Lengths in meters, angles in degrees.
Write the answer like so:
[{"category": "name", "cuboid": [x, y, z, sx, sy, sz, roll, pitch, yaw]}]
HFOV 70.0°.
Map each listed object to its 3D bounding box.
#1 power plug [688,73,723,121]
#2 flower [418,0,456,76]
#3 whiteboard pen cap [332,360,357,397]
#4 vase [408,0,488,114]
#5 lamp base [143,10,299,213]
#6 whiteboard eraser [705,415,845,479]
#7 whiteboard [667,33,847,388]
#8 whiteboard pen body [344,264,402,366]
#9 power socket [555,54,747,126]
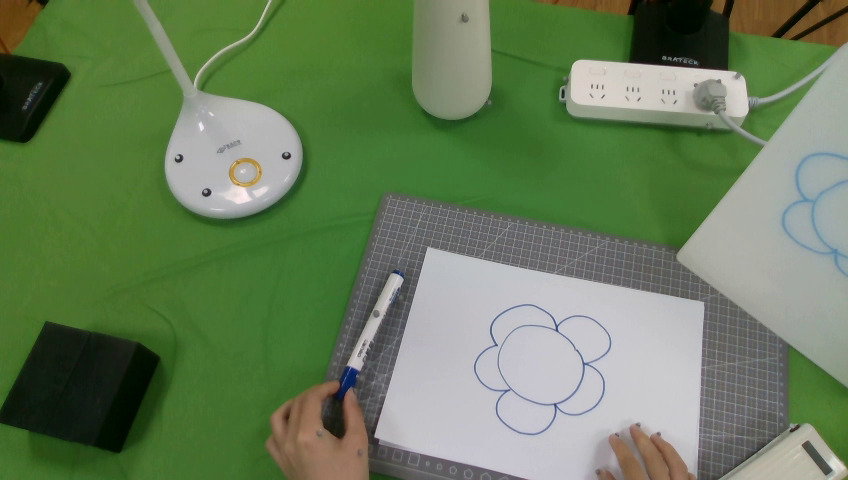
[{"category": "power plug", "cuboid": [0.322, -0.161, 0.702, 0.035, 0.053, 0.072, 16, 72, 9]}, {"category": "flower", "cuboid": [0.040, -0.256, 0.598, 0.044, 0.362, 0.038, -29, 84, -20]}, {"category": "whiteboard pen cap", "cuboid": [-0.077, 0.136, 0.595, 0.018, 0.018, 0.033, 16, 79, 10]}, {"category": "vase", "cuboid": [0.026, -0.232, 0.678, 0.098, 0.201, 0.097, -1, 64, 3]}, {"category": "lamp base", "cuboid": [-0.240, -0.144, 0.654, 0.160, 0.182, 0.178, -40, 67, -16]}, {"category": "whiteboard eraser", "cuboid": [0.312, 0.209, 0.544, 0.113, 0.042, 0.055, -29, 66, -11]}, {"category": "whiteboard", "cuboid": [0.420, -0.046, 0.553, 0.215, 0.307, 0.144, 41, 52, 20]}, {"category": "whiteboard pen body", "cuboid": [-0.056, 0.087, 0.618, 0.017, 0.017, 0.140, 20, 65, 11]}, {"category": "power socket", "cuboid": [0.277, -0.183, 0.739, 0.226, 0.033, 0.071, 6, 66, 4]}]
